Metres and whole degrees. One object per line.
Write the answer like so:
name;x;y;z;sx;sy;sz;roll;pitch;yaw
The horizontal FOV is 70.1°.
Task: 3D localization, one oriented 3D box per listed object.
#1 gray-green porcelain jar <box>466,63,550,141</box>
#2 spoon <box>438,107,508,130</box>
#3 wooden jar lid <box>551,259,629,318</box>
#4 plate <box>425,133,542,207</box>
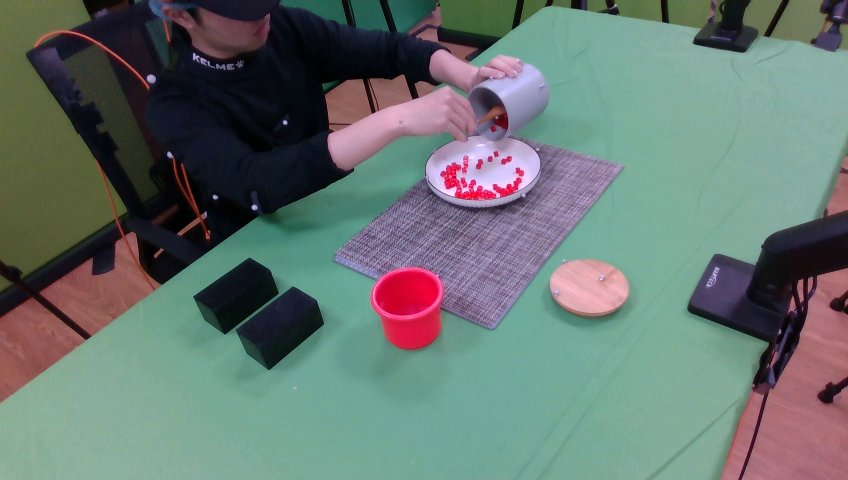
gray-green porcelain jar;0.157;-0.253;1.094;0.127;0.106;0.105;-36;48;-29
spoon;0.097;-0.210;1.053;0.195;0.021;0.041;-24;14;-38
wooden jar lid;0.234;0.070;0.857;0.108;0.021;0.108;-5;40;4
plate;0.105;-0.122;1.079;0.207;0.039;0.206;-4;41;4
